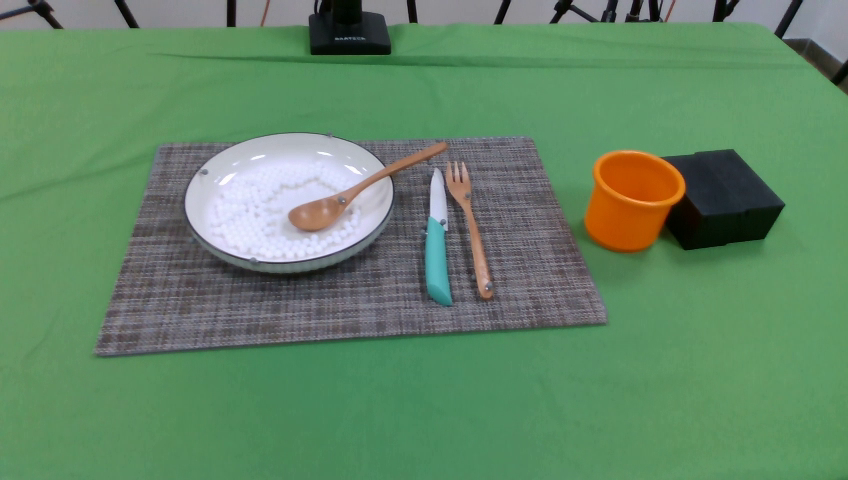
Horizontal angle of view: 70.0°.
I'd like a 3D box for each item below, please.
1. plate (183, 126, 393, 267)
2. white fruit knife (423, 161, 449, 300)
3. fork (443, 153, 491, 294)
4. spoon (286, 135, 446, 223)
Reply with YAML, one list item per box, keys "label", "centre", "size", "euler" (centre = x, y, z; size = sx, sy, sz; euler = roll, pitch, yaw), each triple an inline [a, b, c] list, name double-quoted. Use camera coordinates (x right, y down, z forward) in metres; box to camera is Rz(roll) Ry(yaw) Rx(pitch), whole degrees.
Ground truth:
- label: "plate"
  centre: [-0.135, -0.045, 0.625]
  size: [0.209, 0.038, 0.207]
  euler: [3, 45, -2]
- label: "white fruit knife"
  centre: [0.012, -0.021, 0.632]
  size: [0.027, 0.016, 0.205]
  euler: [26, 38, -23]
- label: "fork"
  centre: [0.045, -0.025, 0.634]
  size: [0.028, 0.019, 0.205]
  euler: [6, 42, -16]
- label: "spoon"
  centre: [-0.055, -0.067, 0.634]
  size: [0.194, 0.022, 0.041]
  euler: [-32, 53, -16]
